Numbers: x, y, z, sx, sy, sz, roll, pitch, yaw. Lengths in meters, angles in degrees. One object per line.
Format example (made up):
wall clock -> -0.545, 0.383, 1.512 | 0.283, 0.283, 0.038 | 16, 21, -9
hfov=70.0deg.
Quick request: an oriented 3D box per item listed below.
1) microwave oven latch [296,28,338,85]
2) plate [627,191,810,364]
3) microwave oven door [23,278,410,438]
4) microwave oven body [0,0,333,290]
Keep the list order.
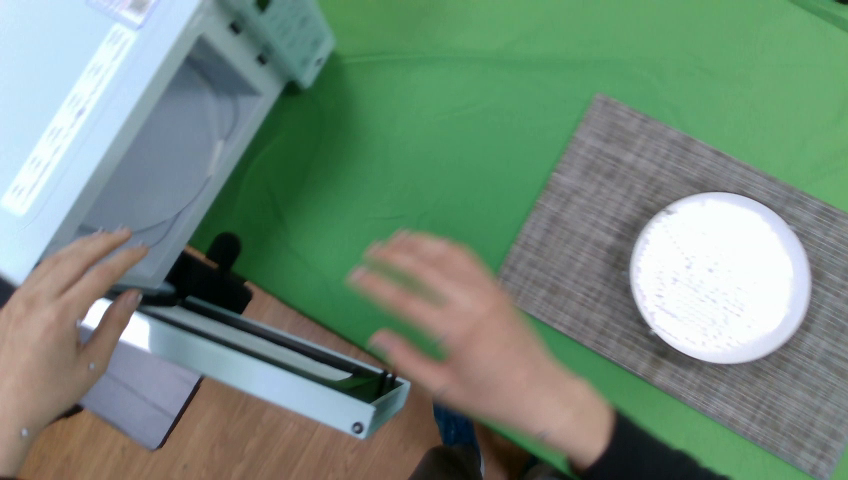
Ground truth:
microwave oven latch -> -0.147, -0.252, 0.816 | 0.030, 0.029, 0.079 | 33, 87, 9
plate -> 0.352, 0.045, 0.737 | 0.209, 0.038, 0.208 | -1, 82, 6
microwave oven door -> -0.202, 0.119, 0.667 | 0.355, 0.245, 0.039 | 19, 84, 8
microwave oven body -> -0.374, -0.188, 0.731 | 0.325, 0.261, 0.441 | 30, 87, 8
